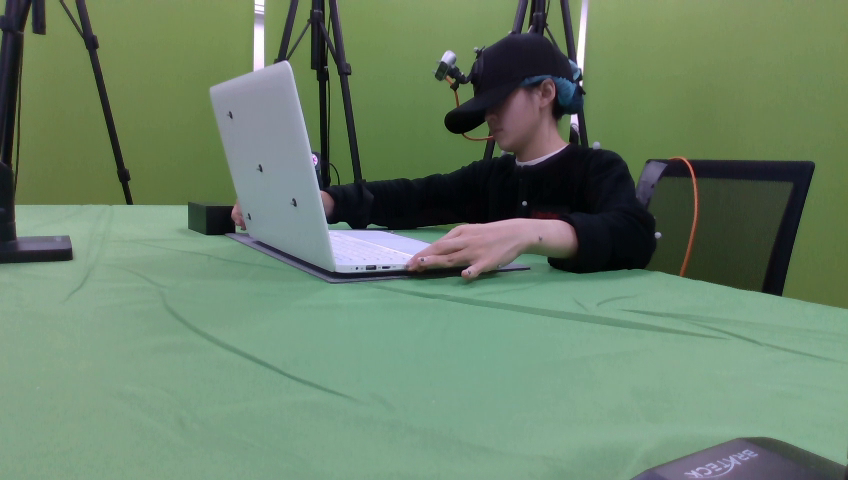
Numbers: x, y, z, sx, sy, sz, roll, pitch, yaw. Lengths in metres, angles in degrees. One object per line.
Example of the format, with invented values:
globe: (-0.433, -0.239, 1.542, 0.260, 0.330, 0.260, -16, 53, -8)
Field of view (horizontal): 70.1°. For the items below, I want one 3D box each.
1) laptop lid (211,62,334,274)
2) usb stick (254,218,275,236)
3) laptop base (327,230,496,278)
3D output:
laptop lid: (-0.211, -0.095, 0.790, 0.013, 0.241, 0.355, -18, 18, -29)
usb stick: (-0.263, -0.021, 1.002, 0.021, 0.027, 0.059, -4, 13, -34)
laptop base: (-0.091, 0.017, 0.884, 0.237, 0.023, 0.352, 2, 7, -33)
